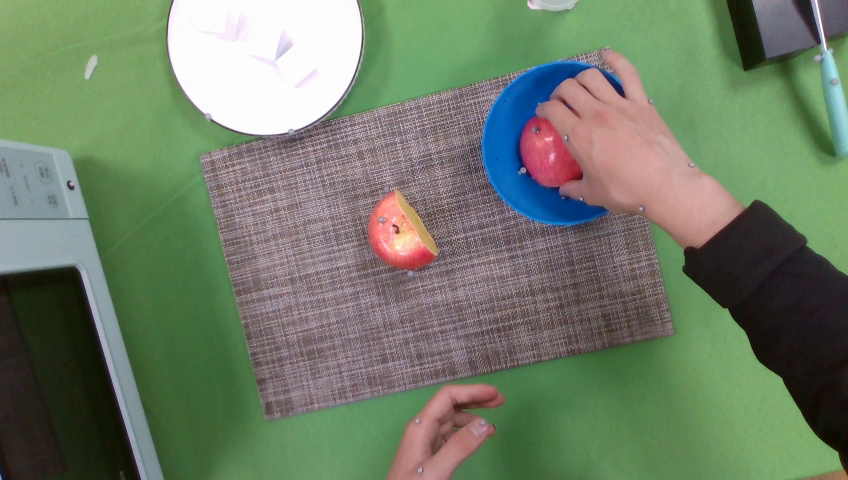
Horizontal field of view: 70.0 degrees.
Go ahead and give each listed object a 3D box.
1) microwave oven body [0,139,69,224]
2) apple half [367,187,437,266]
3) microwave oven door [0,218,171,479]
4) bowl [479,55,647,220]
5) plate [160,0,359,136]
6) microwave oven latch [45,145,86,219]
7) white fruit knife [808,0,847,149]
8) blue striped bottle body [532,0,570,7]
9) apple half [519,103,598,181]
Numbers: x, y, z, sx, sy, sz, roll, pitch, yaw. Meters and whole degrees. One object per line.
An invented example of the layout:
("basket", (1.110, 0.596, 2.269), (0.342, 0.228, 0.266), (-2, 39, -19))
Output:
("microwave oven body", (-0.495, 0.154, 0.572), (0.326, 0.260, 0.442), (-16, 92, 5))
("apple half", (-0.028, -0.007, 0.613), (0.053, 0.074, 0.081), (-33, 93, 10))
("microwave oven door", (-0.343, 0.156, 0.554), (0.039, 0.244, 0.356), (-16, 92, 6))
("bowl", (0.129, -0.094, 0.590), (0.151, 0.077, 0.151), (0, 93, 6))
("plate", (-0.168, -0.211, 0.635), (0.207, 0.039, 0.207), (0, 94, 5))
("microwave oven latch", (-0.390, -0.060, 0.646), (0.030, 0.029, 0.079), (-15, 93, 5))
("white fruit knife", (0.370, -0.177, 0.562), (0.016, 0.027, 0.208), (-18, 109, 23))
("blue striped bottle body", (0.125, -0.267, 0.562), (0.063, 0.121, 0.063), (0, 93, 5))
("apple half", (0.130, -0.094, 0.580), (0.081, 0.033, 0.081), (2, 100, 11))
